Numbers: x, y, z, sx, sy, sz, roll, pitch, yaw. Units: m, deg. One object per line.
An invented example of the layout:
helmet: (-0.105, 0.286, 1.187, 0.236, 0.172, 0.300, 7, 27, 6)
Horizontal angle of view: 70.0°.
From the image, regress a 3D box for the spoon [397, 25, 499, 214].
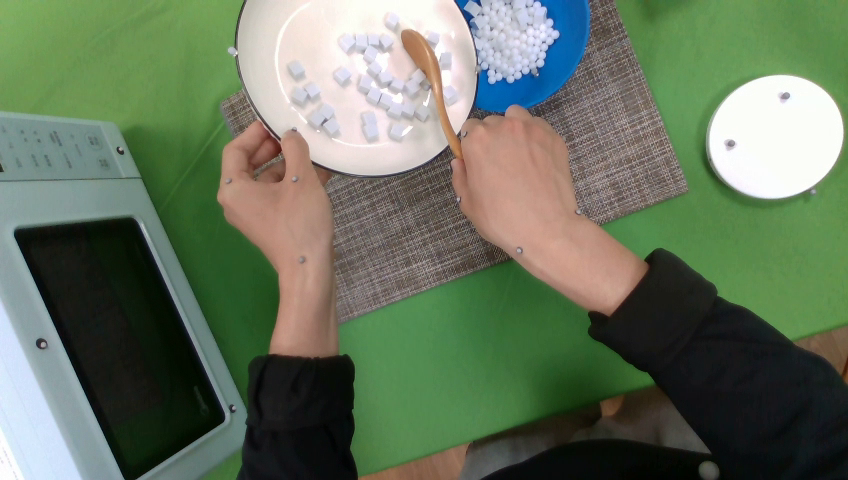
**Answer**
spoon: (0.018, -0.103, 0.511, 0.022, 0.042, 0.192, -15, 71, -17)

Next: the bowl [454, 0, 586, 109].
bowl: (0.083, -0.201, 0.590, 0.151, 0.077, 0.151, 2, 99, 16)

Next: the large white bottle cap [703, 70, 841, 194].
large white bottle cap: (0.325, -0.100, 0.569, 0.114, 0.018, 0.115, 2, 98, 15)

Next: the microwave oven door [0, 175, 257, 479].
microwave oven door: (-0.329, 0.100, 0.653, 0.039, 0.244, 0.355, -25, 90, 18)

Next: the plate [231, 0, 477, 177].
plate: (-0.057, -0.154, 0.527, 0.210, 0.038, 0.208, 2, 84, -18)

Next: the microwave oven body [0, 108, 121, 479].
microwave oven body: (-0.471, 0.119, 0.702, 0.326, 0.260, 0.441, -24, 91, 17)

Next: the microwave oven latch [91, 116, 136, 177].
microwave oven latch: (-0.388, -0.112, 0.746, 0.030, 0.029, 0.079, -24, 91, 17)
